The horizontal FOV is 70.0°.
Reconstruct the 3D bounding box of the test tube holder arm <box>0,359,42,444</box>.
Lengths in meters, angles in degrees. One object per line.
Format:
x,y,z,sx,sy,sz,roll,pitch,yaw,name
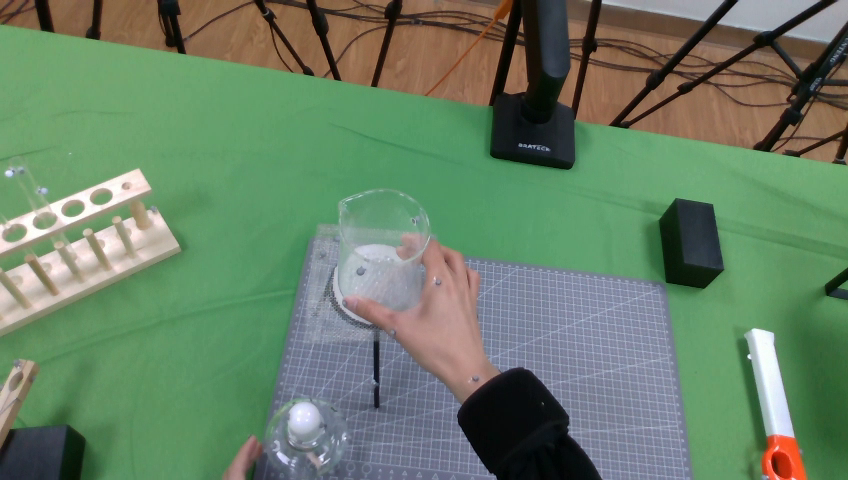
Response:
-0.375,0.151,0.550,0.010,0.015,0.087,11,56,-1,test tube holder arm

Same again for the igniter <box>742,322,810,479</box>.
0.388,0.219,0.661,0.057,0.025,0.274,14,57,-11,igniter

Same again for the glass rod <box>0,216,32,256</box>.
-0.421,-0.026,0.592,0.008,0.201,0.008,1,52,-1,glass rod

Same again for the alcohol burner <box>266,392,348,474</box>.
-0.110,0.175,0.567,0.078,0.120,0.077,5,57,-7,alcohol burner

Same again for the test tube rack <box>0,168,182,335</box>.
-0.398,0.019,0.646,0.242,0.086,0.066,-29,66,-23,test tube rack

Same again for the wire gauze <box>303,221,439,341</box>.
-0.047,0.037,0.570,0.122,0.011,0.124,3,59,-6,wire gauze

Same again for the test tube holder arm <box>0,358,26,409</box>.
-0.386,0.187,0.525,0.013,0.015,0.177,10,56,-2,test tube holder arm

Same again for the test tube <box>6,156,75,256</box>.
-0.387,-0.028,0.619,0.017,0.151,0.017,4,53,-6,test tube

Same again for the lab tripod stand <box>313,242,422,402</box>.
-0.052,0.077,0.625,0.149,0.132,0.147,4,58,-7,lab tripod stand

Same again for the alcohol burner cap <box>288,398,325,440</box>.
-0.105,0.157,0.536,0.034,0.048,0.033,2,64,-4,alcohol burner cap

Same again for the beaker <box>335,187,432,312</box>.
-0.042,0.011,0.524,0.084,0.101,0.073,31,58,9,beaker
